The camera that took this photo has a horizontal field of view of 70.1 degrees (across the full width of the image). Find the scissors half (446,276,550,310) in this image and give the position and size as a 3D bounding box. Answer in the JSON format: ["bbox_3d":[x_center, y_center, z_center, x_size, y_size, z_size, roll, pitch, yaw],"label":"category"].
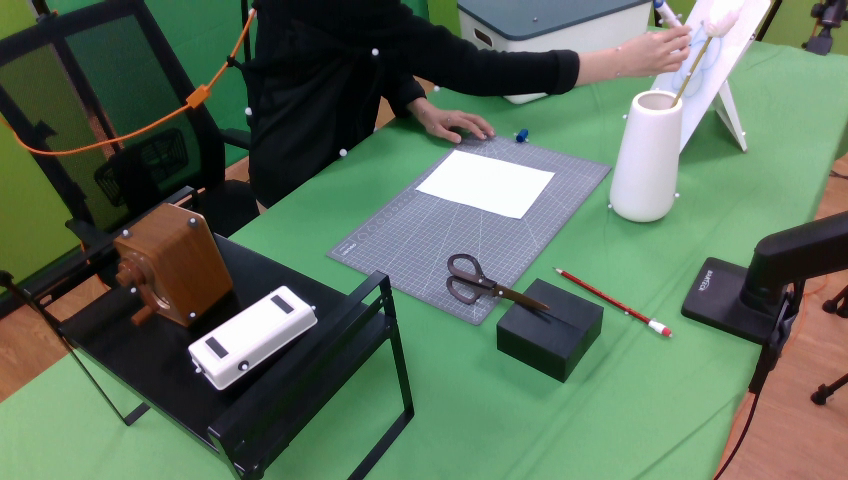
[{"bbox_3d":[0.098,0.077,0.827,0.174,0.040,0.013,6,14,44],"label":"scissors half"}]

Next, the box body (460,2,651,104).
[{"bbox_3d":[0.291,-0.465,1.371,0.365,0.161,0.252,-22,42,-16],"label":"box body"}]

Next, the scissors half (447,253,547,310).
[{"bbox_3d":[0.098,0.058,0.821,0.173,0.040,0.013,27,33,36],"label":"scissors half"}]

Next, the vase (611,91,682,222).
[{"bbox_3d":[0.348,-0.125,0.935,0.098,0.201,0.097,-3,40,3],"label":"vase"}]

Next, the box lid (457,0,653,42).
[{"bbox_3d":[0.285,-0.522,1.323,0.373,0.015,0.261,-22,43,-16],"label":"box lid"}]

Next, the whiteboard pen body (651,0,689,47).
[{"bbox_3d":[0.408,-0.353,0.994,0.017,0.142,0.017,-18,63,39],"label":"whiteboard pen body"}]

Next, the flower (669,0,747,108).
[{"bbox_3d":[0.355,-0.187,0.880,0.038,0.362,0.044,31,48,15],"label":"flower"}]

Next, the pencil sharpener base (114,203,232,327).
[{"bbox_3d":[-0.261,0.029,0.635,0.061,0.107,0.077,18,47,26],"label":"pencil sharpener base"}]

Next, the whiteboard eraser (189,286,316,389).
[{"bbox_3d":[-0.166,0.096,0.593,0.113,0.042,0.055,-36,47,-29],"label":"whiteboard eraser"}]

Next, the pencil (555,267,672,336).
[{"bbox_3d":[0.261,0.082,0.851,0.012,0.012,0.192,-33,45,-27],"label":"pencil"}]

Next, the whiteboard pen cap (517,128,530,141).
[{"bbox_3d":[0.195,-0.207,1.192,0.018,0.018,0.033,14,41,23],"label":"whiteboard pen cap"}]

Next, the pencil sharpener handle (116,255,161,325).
[{"bbox_3d":[-0.286,0.050,0.594,0.035,0.068,0.031,7,41,35],"label":"pencil sharpener handle"}]

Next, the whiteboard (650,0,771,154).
[{"bbox_3d":[0.543,-0.298,1.076,0.144,0.305,0.216,12,40,-7],"label":"whiteboard"}]
